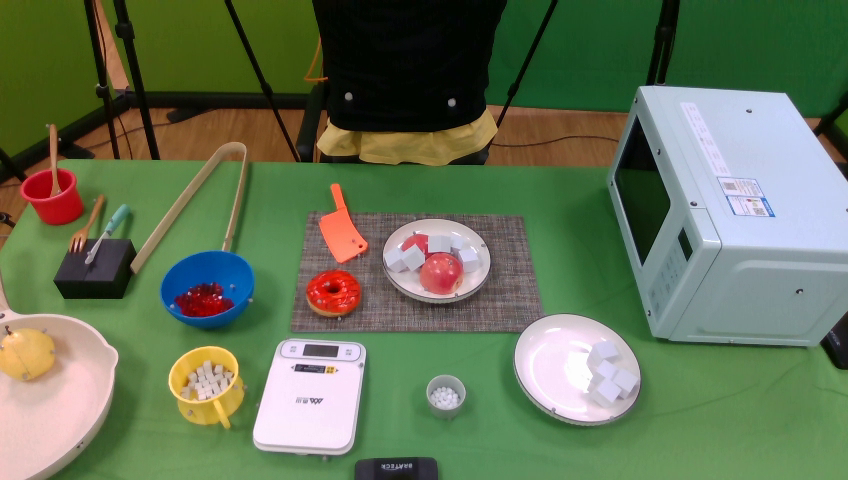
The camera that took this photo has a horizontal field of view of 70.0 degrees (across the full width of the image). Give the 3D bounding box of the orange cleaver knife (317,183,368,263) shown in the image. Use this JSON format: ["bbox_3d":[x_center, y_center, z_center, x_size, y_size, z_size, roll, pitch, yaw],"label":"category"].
[{"bbox_3d":[-0.174,-0.037,1.218,0.077,0.012,0.210,-17,51,-11],"label":"orange cleaver knife"}]

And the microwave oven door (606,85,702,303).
[{"bbox_3d":[0.423,-0.094,1.140,0.039,0.245,0.353,2,46,-1],"label":"microwave oven door"}]

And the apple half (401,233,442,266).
[{"bbox_3d":[-0.004,0.013,1.160,0.081,0.033,0.081,5,45,-4],"label":"apple half"}]

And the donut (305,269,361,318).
[{"bbox_3d":[-0.160,0.094,1.075,0.099,0.048,0.098,4,45,-3],"label":"donut"}]

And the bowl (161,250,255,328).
[{"bbox_3d":[-0.362,0.098,1.039,0.151,0.077,0.150,2,45,-2],"label":"bowl"}]

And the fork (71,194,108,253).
[{"bbox_3d":[-0.634,-0.036,1.158,0.028,0.019,0.206,-7,31,-8],"label":"fork"}]

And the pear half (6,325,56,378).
[{"bbox_3d":[-0.608,0.158,0.935,0.076,0.110,0.056,31,51,20],"label":"pear half"}]

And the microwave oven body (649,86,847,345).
[{"bbox_3d":[0.567,-0.053,1.118,0.326,0.261,0.439,2,45,-1],"label":"microwave oven body"}]

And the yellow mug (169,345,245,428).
[{"bbox_3d":[-0.322,0.230,0.922,0.100,0.064,0.130,-24,53,-25],"label":"yellow mug"}]

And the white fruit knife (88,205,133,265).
[{"bbox_3d":[-0.583,-0.013,1.129,0.016,0.027,0.206,-2,32,-4],"label":"white fruit knife"}]

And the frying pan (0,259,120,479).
[{"bbox_3d":[-0.647,0.164,0.936,0.307,0.103,0.485,-19,58,-22],"label":"frying pan"}]

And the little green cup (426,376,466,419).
[{"bbox_3d":[0.033,0.248,0.950,0.061,0.039,0.061,2,46,-2],"label":"little green cup"}]

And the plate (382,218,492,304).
[{"bbox_3d":[0.023,0.042,1.143,0.209,0.038,0.208,2,46,-2],"label":"plate"}]

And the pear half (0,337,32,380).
[{"bbox_3d":[-0.631,0.184,0.921,0.070,0.088,0.031,29,49,19],"label":"pear half"}]

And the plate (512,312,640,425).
[{"bbox_3d":[0.246,0.213,0.999,0.208,0.039,0.206,2,46,-2],"label":"plate"}]

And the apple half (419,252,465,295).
[{"bbox_3d":[0.035,0.055,1.109,0.074,0.053,0.081,38,55,24],"label":"apple half"}]

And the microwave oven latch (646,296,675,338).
[{"bbox_3d":[0.412,0.134,1.061,0.030,0.029,0.078,4,45,1],"label":"microwave oven latch"}]

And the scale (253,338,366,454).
[{"bbox_3d":[-0.175,0.236,0.951,0.149,0.032,0.199,5,45,-1],"label":"scale"}]

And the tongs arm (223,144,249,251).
[{"bbox_3d":[-0.397,-0.073,1.232,0.051,0.026,0.382,-1,45,-1],"label":"tongs arm"}]

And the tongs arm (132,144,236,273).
[{"bbox_3d":[-0.482,-0.078,1.234,0.028,0.028,0.385,6,45,12],"label":"tongs arm"}]

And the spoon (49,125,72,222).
[{"bbox_3d":[-0.718,-0.131,1.189,0.041,0.021,0.193,-4,91,-6],"label":"spoon"}]
